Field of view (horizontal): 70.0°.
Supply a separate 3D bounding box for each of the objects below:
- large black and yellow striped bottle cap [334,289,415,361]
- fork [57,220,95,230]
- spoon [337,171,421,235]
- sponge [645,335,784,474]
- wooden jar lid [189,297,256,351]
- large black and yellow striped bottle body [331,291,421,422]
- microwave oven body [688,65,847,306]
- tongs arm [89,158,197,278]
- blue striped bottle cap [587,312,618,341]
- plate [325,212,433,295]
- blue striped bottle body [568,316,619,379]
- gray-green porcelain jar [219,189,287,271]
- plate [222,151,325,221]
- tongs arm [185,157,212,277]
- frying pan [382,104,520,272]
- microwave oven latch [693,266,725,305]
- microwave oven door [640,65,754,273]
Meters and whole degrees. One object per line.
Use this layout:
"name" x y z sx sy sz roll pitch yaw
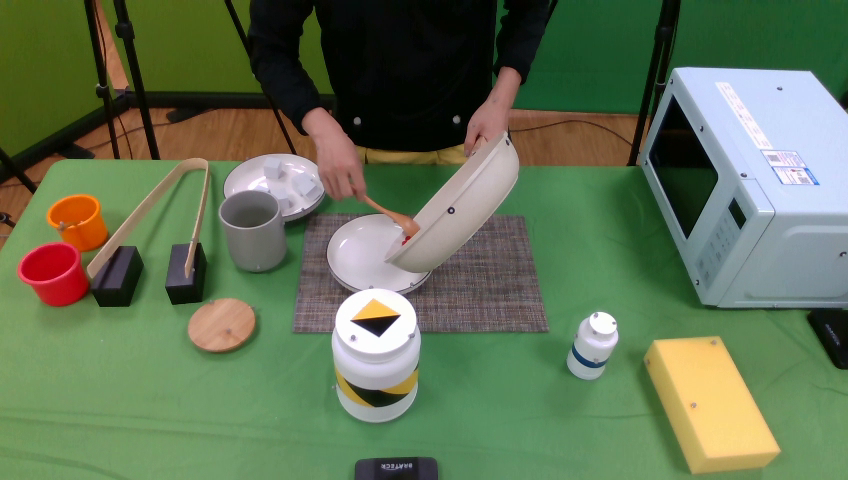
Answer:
"large black and yellow striped bottle cap" -0.069 0.117 0.850 0.115 0.019 0.114 2 45 -2
"fork" -0.624 -0.027 1.086 0.028 0.207 0.018 -2 92 -17
"spoon" -0.081 -0.064 1.100 0.193 0.022 0.041 34 38 3
"sponge" 0.449 0.253 0.956 0.118 0.061 0.205 -4 46 -7
"wooden jar lid" -0.342 0.145 1.033 0.108 0.021 0.107 2 45 -2
"large black and yellow striped bottle body" -0.071 0.175 0.911 0.131 0.185 0.130 2 47 -2
"microwave oven body" 0.669 -0.111 1.176 0.326 0.261 0.439 0 46 -3
"tongs arm" -0.530 -0.057 1.164 0.028 0.028 0.385 1 36 8
"blue striped bottle cap" 0.279 0.134 0.946 0.044 0.021 0.044 2 45 -2
"plate" -0.080 0.030 1.143 0.209 0.038 0.208 2 46 -2
"blue striped bottle body" 0.276 0.168 0.984 0.063 0.121 0.062 2 46 -2
"gray-green porcelain jar" -0.310 -0.014 1.113 0.106 0.127 0.105 2 46 -2
"plate" -0.310 -0.106 1.262 0.208 0.039 0.206 3 46 -3
"tongs arm" -0.445 -0.057 1.168 0.051 0.026 0.382 -5 37 -6
"frying pan" 0.081 -0.121 1.069 0.103 0.307 0.485 38 43 -13
"microwave oven latch" 0.523 0.082 1.116 0.030 0.029 0.078 3 46 0
"microwave oven door" 0.523 -0.147 1.193 0.039 0.245 0.353 0 47 -3
